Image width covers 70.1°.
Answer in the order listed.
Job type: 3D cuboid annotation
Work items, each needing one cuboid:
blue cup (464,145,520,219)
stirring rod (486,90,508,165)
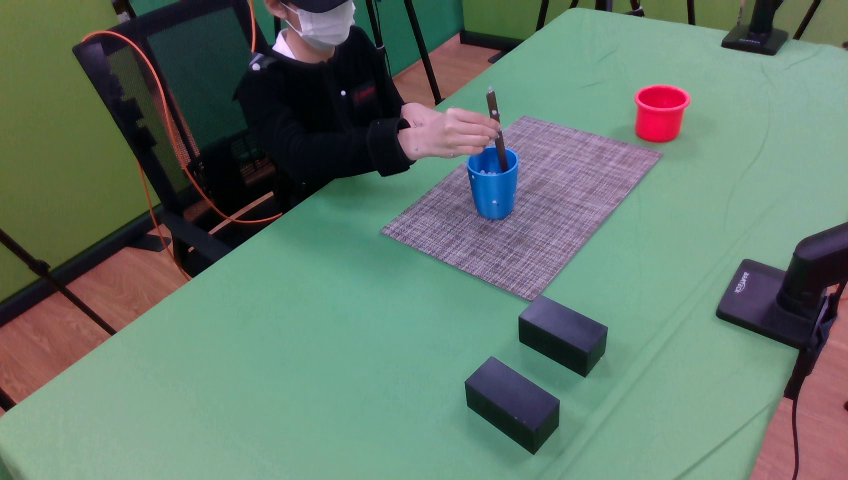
[{"bbox_3d":[0.116,-0.090,0.996,0.092,0.100,0.092,-5,41,5],"label":"blue cup"},{"bbox_3d":[0.116,-0.156,0.929,0.014,0.177,0.005,-33,48,-12],"label":"stirring rod"}]
